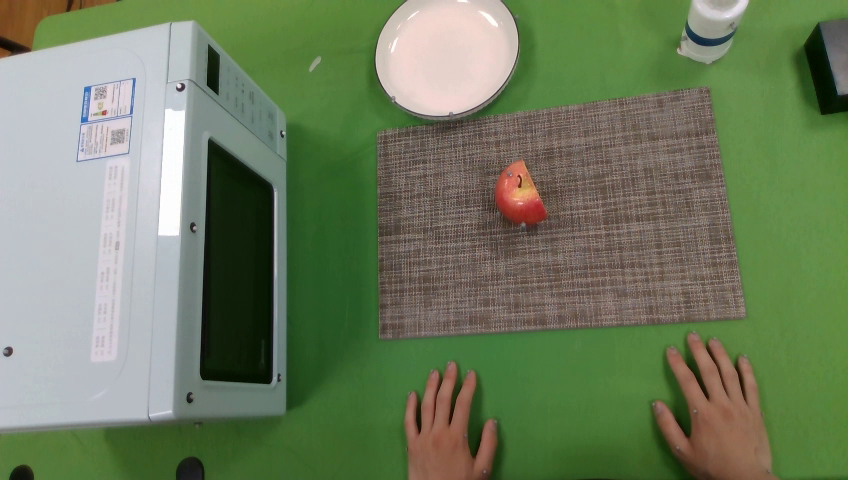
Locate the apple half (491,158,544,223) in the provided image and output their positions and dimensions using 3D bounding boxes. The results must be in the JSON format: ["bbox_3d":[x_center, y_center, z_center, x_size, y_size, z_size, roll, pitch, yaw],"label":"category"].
[{"bbox_3d":[0.113,-0.056,0.769,0.053,0.075,0.080,-25,76,10],"label":"apple half"}]

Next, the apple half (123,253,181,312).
[{"bbox_3d":[-0.354,0.056,0.778,0.081,0.033,0.081,0,89,5],"label":"apple half"}]

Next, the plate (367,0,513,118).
[{"bbox_3d":[0.024,-0.265,0.865,0.207,0.039,0.206,-3,76,12],"label":"plate"}]

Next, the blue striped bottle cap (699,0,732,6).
[{"bbox_3d":[0.341,-0.294,0.701,0.044,0.021,0.044,-3,78,12],"label":"blue striped bottle cap"}]

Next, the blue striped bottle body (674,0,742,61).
[{"bbox_3d":[0.352,-0.280,0.749,0.063,0.121,0.062,-3,75,12],"label":"blue striped bottle body"}]

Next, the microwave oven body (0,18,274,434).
[{"bbox_3d":[-0.378,0.006,0.766,0.325,0.262,0.439,-7,75,10],"label":"microwave oven body"}]

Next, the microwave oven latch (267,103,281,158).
[{"bbox_3d":[-0.223,-0.157,0.874,0.030,0.030,0.078,-7,75,11],"label":"microwave oven latch"}]

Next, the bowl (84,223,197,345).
[{"bbox_3d":[-0.352,0.058,0.788,0.151,0.077,0.151,-1,85,17],"label":"bowl"}]

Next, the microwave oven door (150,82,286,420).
[{"bbox_3d":[-0.234,0.028,0.722,0.039,0.245,0.353,-7,74,11],"label":"microwave oven door"}]
